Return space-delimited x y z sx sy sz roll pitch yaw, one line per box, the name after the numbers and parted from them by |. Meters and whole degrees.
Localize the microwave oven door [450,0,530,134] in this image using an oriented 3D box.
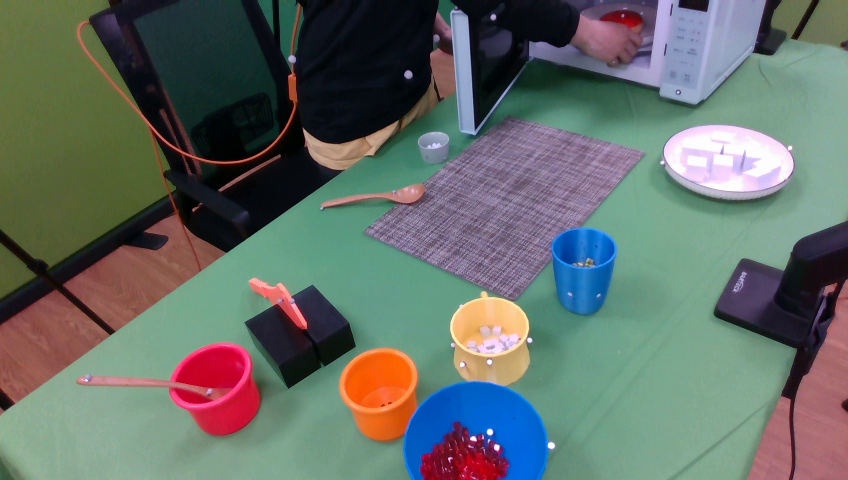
0.145 -0.412 1.240 0.039 0.245 0.356 13 44 23 | microwave oven door

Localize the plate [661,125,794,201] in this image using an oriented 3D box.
0.513 -0.128 1.035 0.207 0.039 0.206 -4 40 4 | plate

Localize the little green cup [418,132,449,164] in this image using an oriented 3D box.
0.019 -0.177 1.168 0.061 0.039 0.061 -2 41 2 | little green cup

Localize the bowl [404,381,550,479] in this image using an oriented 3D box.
0.058 0.235 0.645 0.151 0.077 0.150 -4 39 4 | bowl

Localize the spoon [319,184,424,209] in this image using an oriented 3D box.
-0.094 -0.075 1.074 0.193 0.022 0.041 -5 55 6 | spoon

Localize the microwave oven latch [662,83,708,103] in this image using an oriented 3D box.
0.519 -0.297 1.204 0.078 0.029 0.030 29 53 36 | microwave oven latch

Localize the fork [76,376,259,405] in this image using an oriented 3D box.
-0.295 0.176 0.716 0.209 0.018 0.028 20 27 -37 | fork

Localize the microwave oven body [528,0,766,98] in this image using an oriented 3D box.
0.472 -0.513 1.317 0.438 0.261 0.327 26 51 34 | microwave oven body

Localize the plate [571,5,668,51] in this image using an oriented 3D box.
0.437 -0.474 1.361 0.209 0.038 0.208 -2 41 3 | plate

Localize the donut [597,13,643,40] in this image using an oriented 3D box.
0.435 -0.478 1.346 0.099 0.048 0.098 -4 34 4 | donut

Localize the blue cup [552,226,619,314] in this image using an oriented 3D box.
0.218 0.047 0.826 0.092 0.101 0.092 -6 40 5 | blue cup

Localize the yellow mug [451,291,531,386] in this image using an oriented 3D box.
0.085 0.120 0.786 0.100 0.064 0.130 -7 39 1 | yellow mug

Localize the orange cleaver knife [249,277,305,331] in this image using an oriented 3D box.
-0.210 0.088 0.856 0.012 0.077 0.210 -28 15 -25 | orange cleaver knife
